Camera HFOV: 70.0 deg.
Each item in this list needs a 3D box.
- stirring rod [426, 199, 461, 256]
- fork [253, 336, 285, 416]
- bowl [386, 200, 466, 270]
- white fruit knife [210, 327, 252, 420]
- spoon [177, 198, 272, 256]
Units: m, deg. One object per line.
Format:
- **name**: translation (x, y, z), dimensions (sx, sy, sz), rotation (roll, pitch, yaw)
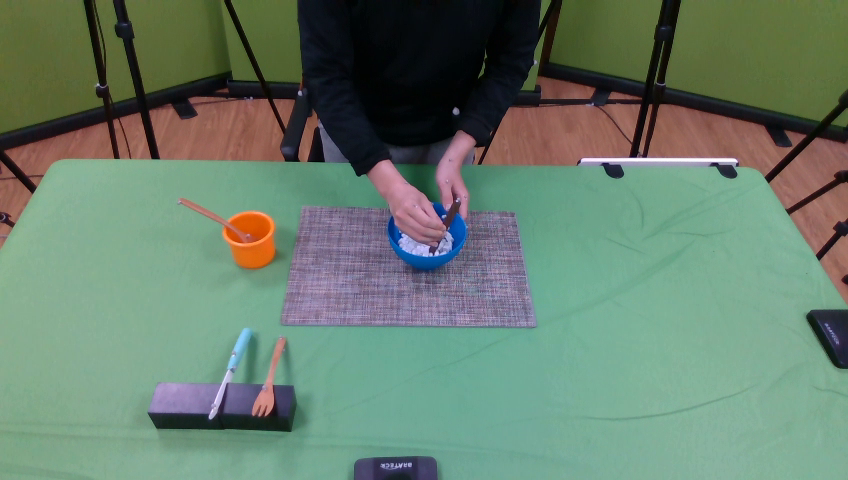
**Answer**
- **stirring rod**: translation (0.032, -0.019, 1.081), dimensions (0.014, 0.176, 0.006), rotation (21, 53, -4)
- **fork**: translation (-0.235, 0.206, 0.938), dimensions (0.028, 0.019, 0.206), rotation (-3, 26, -3)
- **bowl**: translation (0.001, 0.003, 1.150), dimensions (0.151, 0.077, 0.150), rotation (2, 46, -2)
- **white fruit knife**: translation (-0.298, 0.200, 0.937), dimensions (0.016, 0.027, 0.206), rotation (0, 30, 0)
- **spoon**: translation (-0.361, -0.025, 1.106), dimensions (0.021, 0.195, 0.041), rotation (-32, 37, 28)
